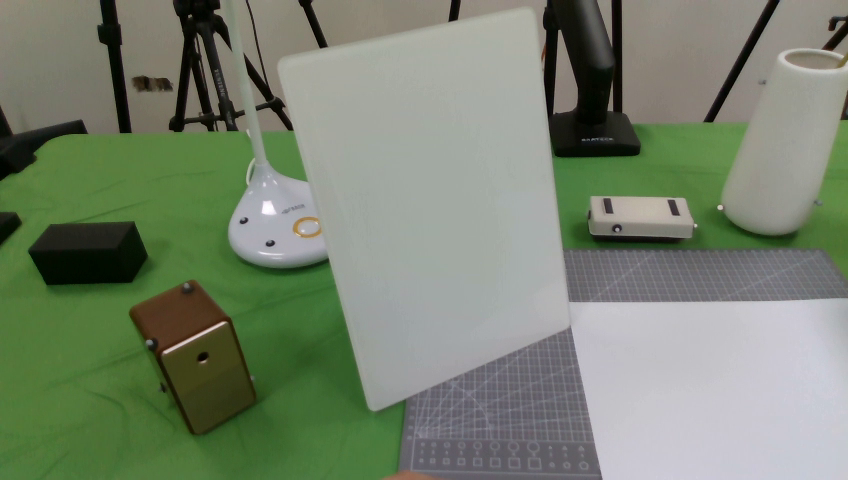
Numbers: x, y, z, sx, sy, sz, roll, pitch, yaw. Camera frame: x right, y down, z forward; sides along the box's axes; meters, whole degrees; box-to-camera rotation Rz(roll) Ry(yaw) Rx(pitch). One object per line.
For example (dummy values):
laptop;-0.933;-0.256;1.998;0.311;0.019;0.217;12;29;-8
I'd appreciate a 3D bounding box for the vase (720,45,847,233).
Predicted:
vase;0.401;-0.106;0.670;0.098;0.202;0.097;-1;38;1

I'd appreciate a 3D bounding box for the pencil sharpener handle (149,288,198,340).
pencil sharpener handle;-0.228;0.063;0.549;0.036;0.068;0.030;-36;47;-23

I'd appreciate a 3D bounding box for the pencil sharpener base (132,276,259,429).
pencil sharpener base;-0.196;0.096;0.524;0.061;0.108;0.076;-29;44;-29

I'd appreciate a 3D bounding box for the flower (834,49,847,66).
flower;0.406;-0.162;0.607;0.044;0.364;0.038;-14;56;-24

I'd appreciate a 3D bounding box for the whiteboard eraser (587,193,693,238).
whiteboard eraser;0.250;-0.027;0.708;0.112;0.042;0.055;1;35;6

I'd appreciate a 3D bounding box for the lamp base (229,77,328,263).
lamp base;-0.170;-0.090;0.705;0.160;0.182;0.177;-33;44;-33

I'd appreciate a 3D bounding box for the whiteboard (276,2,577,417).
whiteboard;-0.003;-0.037;0.567;0.217;0.307;0.142;-19;21;-18
